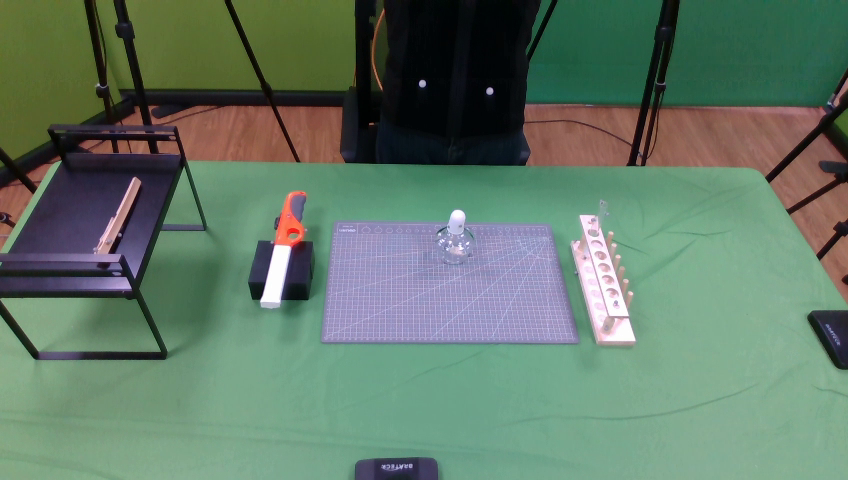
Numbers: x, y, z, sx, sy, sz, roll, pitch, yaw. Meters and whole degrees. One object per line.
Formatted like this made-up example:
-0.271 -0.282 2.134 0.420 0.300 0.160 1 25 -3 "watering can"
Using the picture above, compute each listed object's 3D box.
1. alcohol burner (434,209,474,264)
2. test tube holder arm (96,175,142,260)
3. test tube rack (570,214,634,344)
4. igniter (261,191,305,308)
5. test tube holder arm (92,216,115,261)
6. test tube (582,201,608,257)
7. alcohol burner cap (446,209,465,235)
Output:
0.058 -0.012 1.147 0.078 0.119 0.077 3 44 -2 "alcohol burner"
-0.473 -0.039 0.946 0.013 0.015 0.177 -18 43 19 "test tube holder arm"
0.333 0.067 1.116 0.067 0.085 0.241 1 46 -4 "test tube rack"
-0.255 0.007 1.103 0.057 0.025 0.275 5 47 -4 "igniter"
-0.479 -0.004 0.917 0.010 0.015 0.087 -18 44 20 "test tube holder arm"
0.316 -0.017 1.127 0.017 0.151 0.017 1 51 -1 "test tube"
0.060 -0.036 1.120 0.034 0.048 0.033 4 50 -4 "alcohol burner cap"
